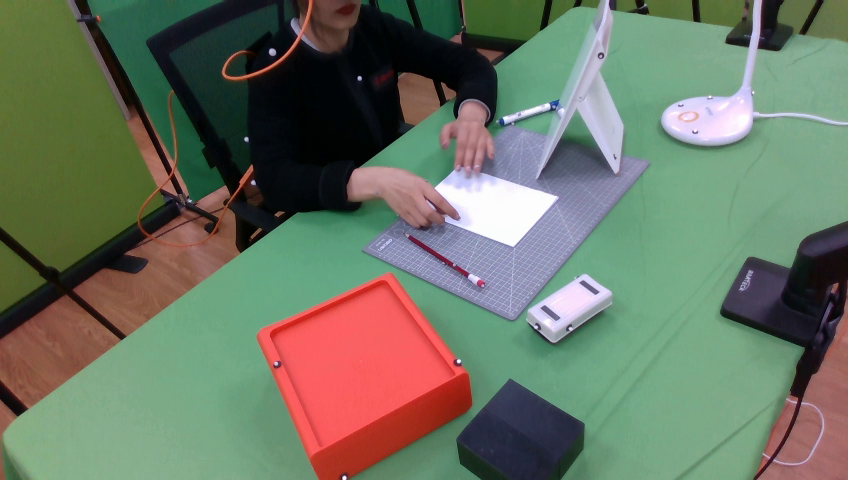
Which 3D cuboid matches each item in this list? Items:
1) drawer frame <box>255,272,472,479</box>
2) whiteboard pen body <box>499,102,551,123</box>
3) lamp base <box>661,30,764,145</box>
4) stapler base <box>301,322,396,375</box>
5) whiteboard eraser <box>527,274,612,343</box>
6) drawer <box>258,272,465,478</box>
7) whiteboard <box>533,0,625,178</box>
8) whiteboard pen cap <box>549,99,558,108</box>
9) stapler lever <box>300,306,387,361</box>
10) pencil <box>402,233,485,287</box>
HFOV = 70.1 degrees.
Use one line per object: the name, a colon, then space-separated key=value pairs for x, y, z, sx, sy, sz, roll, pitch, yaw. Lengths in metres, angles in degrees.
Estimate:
drawer frame: x=-0.079 y=0.161 z=0.760 sx=0.202 sy=0.083 sz=0.211 roll=-24 pitch=43 yaw=-18
whiteboard pen body: x=0.221 y=-0.268 z=1.257 sx=0.141 sy=0.017 sz=0.017 roll=-19 pitch=41 yaw=-13
lamp base: x=0.535 y=-0.287 z=1.096 sx=0.179 sy=0.181 sz=0.159 roll=-10 pitch=40 yaw=-4
stapler base: x=-0.103 y=0.139 z=0.815 sx=0.131 sy=0.024 sz=0.041 roll=-20 pitch=38 yaw=-12
whiteboard eraser: x=0.198 y=0.094 z=0.820 sx=0.113 sy=0.042 sz=0.055 roll=-30 pitch=43 yaw=-22
drawer: x=-0.081 y=0.160 z=0.764 sx=0.195 sy=0.073 sz=0.210 roll=-23 pitch=43 yaw=-17
whiteboard: x=0.321 y=-0.258 z=1.049 sx=0.144 sy=0.306 sz=0.217 roll=20 pitch=45 yaw=4
whiteboard pen cap: x=0.275 y=-0.287 z=1.269 sx=0.033 sy=0.018 sz=0.018 roll=-18 pitch=41 yaw=-13
stapler lever: x=-0.107 y=0.122 z=0.799 sx=0.118 sy=0.040 sz=0.026 roll=-18 pitch=38 yaw=-13
pencil: x=0.026 y=0.027 z=0.949 sx=0.012 sy=0.012 sz=0.192 roll=-34 pitch=45 yaw=-26
